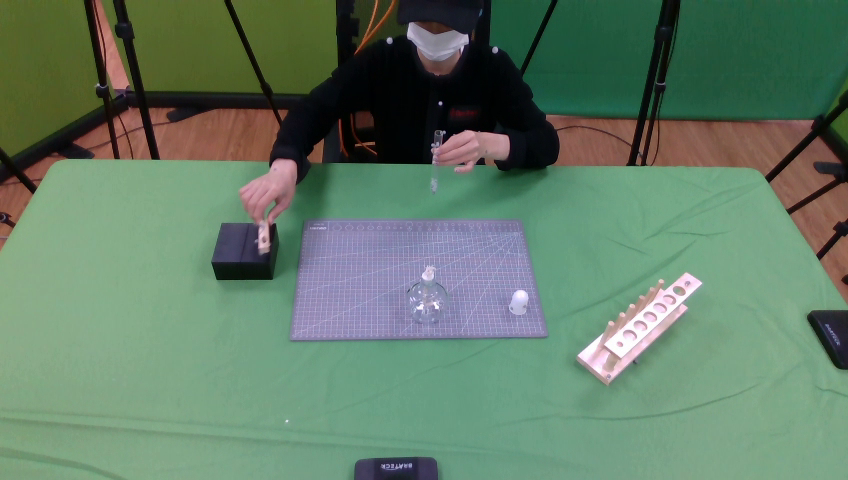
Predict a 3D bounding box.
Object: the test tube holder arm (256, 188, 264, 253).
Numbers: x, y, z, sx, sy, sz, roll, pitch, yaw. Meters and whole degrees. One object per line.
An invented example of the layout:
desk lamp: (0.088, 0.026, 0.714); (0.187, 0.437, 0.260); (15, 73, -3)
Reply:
test tube holder arm: (-0.302, -0.040, 1.114); (0.013, 0.015, 0.177); (2, 40, -21)

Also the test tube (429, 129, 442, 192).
test tube: (0.021, -0.148, 1.158); (0.017, 0.151, 0.017); (2, 49, -3)

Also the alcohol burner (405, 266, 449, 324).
alcohol burner: (0.005, 0.089, 1.043); (0.078, 0.120, 0.077); (1, 45, -1)

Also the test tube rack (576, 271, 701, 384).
test tube rack: (0.373, 0.138, 1.047); (0.242, 0.085, 0.066); (-31, 56, -29)

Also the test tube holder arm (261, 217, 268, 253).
test tube holder arm: (-0.286, -0.010, 1.083); (0.010, 0.015, 0.087); (3, 40, -20)

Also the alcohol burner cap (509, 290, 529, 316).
alcohol burner cap: (0.171, 0.110, 1.086); (0.034, 0.048, 0.033); (2, 45, -2)
